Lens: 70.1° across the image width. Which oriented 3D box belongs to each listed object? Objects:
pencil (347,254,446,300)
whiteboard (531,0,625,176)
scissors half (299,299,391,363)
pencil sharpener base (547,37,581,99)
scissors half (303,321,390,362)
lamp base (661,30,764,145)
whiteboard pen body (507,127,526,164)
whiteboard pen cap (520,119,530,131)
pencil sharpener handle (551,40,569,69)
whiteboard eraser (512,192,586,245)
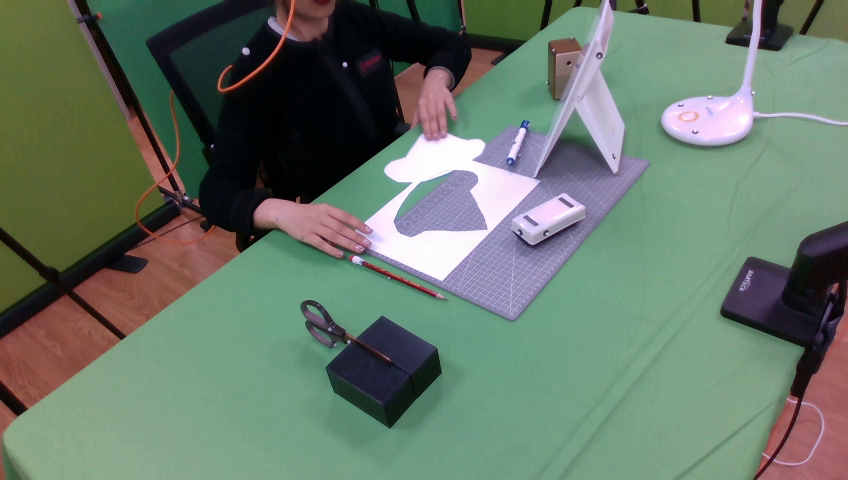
[{"bbox_3d":[-0.045,0.057,0.932,0.192,0.012,0.012,22,49,30],"label":"pencil"},{"bbox_3d":[0.320,-0.258,1.050,0.144,0.306,0.217,22,45,5],"label":"whiteboard"},{"bbox_3d":[-0.107,0.120,0.794,0.174,0.040,0.013,26,45,33],"label":"scissors half"},{"bbox_3d":[0.299,-0.368,1.290,0.061,0.107,0.076,-8,40,3],"label":"pencil sharpener base"},{"bbox_3d":[-0.105,0.138,0.803,0.174,0.040,0.013,8,28,44],"label":"scissors half"},{"bbox_3d":[0.535,-0.287,1.096,0.179,0.181,0.159,-10,40,-4],"label":"lamp base"},{"bbox_3d":[0.181,-0.189,1.163,0.017,0.017,0.140,7,42,19],"label":"whiteboard pen body"},{"bbox_3d":[0.199,-0.226,1.204,0.018,0.018,0.033,7,41,18],"label":"whiteboard pen cap"},{"bbox_3d":[0.291,-0.409,1.320,0.036,0.068,0.030,2,40,-6],"label":"pencil sharpener handle"},{"bbox_3d":[0.199,-0.032,0.962,0.113,0.042,0.055,-27,43,-20],"label":"whiteboard eraser"}]
